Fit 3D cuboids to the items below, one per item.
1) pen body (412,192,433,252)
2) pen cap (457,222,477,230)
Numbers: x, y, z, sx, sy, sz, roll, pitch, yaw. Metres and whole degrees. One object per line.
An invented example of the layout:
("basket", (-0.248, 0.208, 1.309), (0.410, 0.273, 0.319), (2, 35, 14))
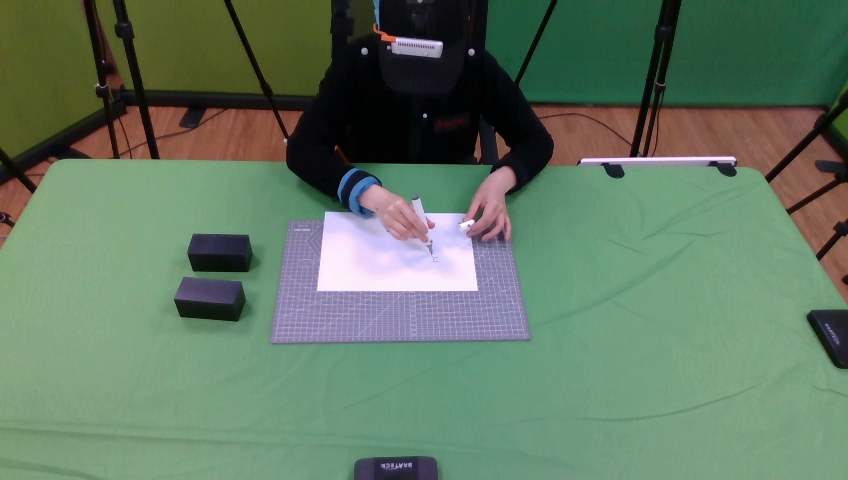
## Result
("pen body", (0.000, -0.030, 1.137), (0.017, 0.145, 0.017), (-10, 40, 9))
("pen cap", (0.085, -0.029, 1.194), (0.038, 0.017, 0.017), (-2, 43, -32))
